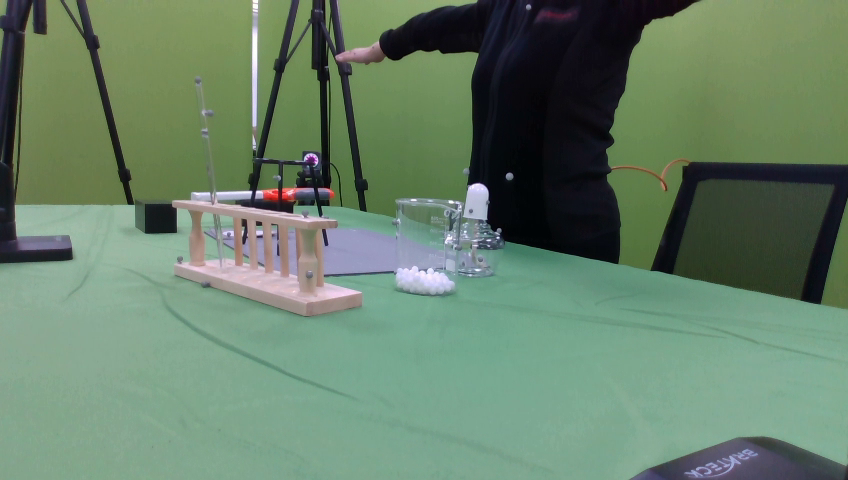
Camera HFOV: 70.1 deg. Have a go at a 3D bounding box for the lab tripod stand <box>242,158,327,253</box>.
[{"bbox_3d":[-0.207,-0.054,0.895,0.148,0.131,0.148,2,5,0],"label":"lab tripod stand"}]

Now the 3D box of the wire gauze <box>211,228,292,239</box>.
[{"bbox_3d":[-0.298,-0.013,1.039,0.122,0.011,0.124,-2,6,-27],"label":"wire gauze"}]

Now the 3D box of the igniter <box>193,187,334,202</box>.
[{"bbox_3d":[-0.316,-0.090,1.213,0.278,0.025,0.057,-5,13,-31],"label":"igniter"}]

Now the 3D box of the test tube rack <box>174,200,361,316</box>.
[{"bbox_3d":[-0.169,0.009,0.622,0.241,0.085,0.067,9,9,41],"label":"test tube rack"}]

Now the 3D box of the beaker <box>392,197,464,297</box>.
[{"bbox_3d":[0.005,0.007,0.647,0.074,0.100,0.083,-5,11,-44],"label":"beaker"}]

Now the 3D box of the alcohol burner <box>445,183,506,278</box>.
[{"bbox_3d":[0.066,-0.013,0.771,0.078,0.119,0.078,0,7,0],"label":"alcohol burner"}]

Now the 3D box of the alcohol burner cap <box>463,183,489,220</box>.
[{"bbox_3d":[0.067,-0.049,0.765,0.034,0.048,0.034,4,5,0],"label":"alcohol burner cap"}]

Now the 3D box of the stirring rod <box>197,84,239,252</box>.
[{"bbox_3d":[-0.212,-0.072,0.625,0.006,0.176,0.014,-14,12,-22],"label":"stirring rod"}]
